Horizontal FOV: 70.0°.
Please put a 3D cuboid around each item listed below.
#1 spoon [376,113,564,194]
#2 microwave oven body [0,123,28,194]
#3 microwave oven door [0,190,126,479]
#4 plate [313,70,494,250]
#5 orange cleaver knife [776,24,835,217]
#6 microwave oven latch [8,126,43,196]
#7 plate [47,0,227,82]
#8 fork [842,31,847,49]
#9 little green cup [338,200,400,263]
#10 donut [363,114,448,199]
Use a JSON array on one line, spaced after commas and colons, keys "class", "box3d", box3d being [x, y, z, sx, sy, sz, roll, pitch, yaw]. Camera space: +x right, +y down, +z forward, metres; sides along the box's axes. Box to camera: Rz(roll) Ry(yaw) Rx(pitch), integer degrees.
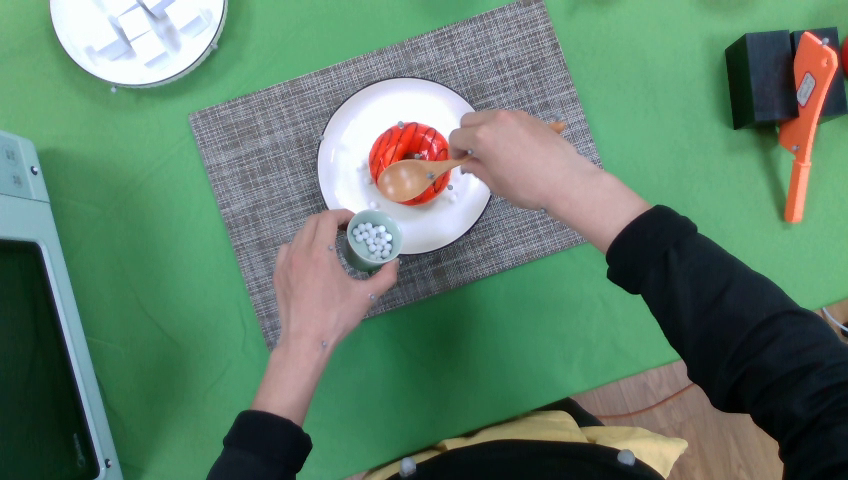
[{"class": "spoon", "box3d": [0.039, -0.084, 0.579, 0.193, 0.022, 0.041, -15, 89, 26]}, {"class": "microwave oven body", "box3d": [-0.561, 0.119, 0.594, 0.326, 0.260, 0.441, -16, 89, -1]}, {"class": "microwave oven door", "box3d": [-0.409, 0.119, 0.588, 0.039, 0.244, 0.355, -17, 88, 0]}, {"class": "plate", "box3d": [-0.023, -0.092, 0.708, 0.209, 0.038, 0.209, 0, 89, 1]}, {"class": "orange cleaver knife", "box3d": [0.423, -0.131, 0.688, 0.012, 0.076, 0.213, -4, 118, 3]}, {"class": "microwave oven latch", "box3d": [-0.466, -0.088, 0.695, 0.030, 0.029, 0.079, -15, 89, -1]}, {"class": "plate", "box3d": [-0.334, -0.287, 0.718, 0.208, 0.039, 0.207, 0, 88, 0]}, {"class": "fork", "box3d": [0.578, -0.227, 0.658, 0.206, 0.019, 0.028, 9, 86, 42]}, {"class": "little green cup", "box3d": [-0.060, -0.006, 0.630, 0.062, 0.039, 0.061, 15, 51, -18]}, {"class": "donut", "box3d": [-0.020, -0.096, 0.696, 0.099, 0.048, 0.099, 0, 91, 1]}]
